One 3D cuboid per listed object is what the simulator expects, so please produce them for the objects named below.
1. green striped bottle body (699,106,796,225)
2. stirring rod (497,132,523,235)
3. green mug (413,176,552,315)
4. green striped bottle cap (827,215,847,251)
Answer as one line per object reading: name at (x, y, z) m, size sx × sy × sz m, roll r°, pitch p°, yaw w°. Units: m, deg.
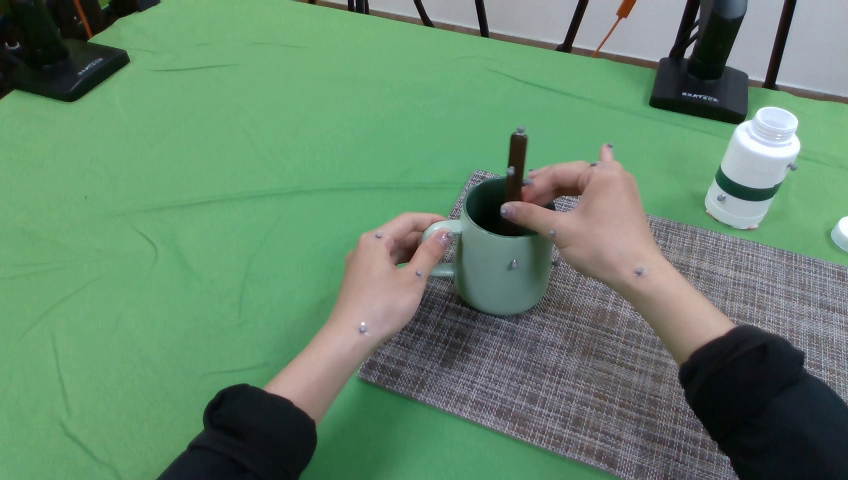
green striped bottle body at (0.334, -0.077, 0.624) m, size 0.063 × 0.120 × 0.062 m, roll 0°, pitch 46°, yaw 0°
stirring rod at (0.069, -0.018, 0.510) m, size 0.014 × 0.178 × 0.006 m, roll 14°, pitch 48°, yaw 15°
green mug at (0.052, 0.008, 0.547) m, size 0.125 × 0.106 × 0.091 m, roll -6°, pitch 47°, yaw -6°
green striped bottle cap at (0.446, -0.006, 0.628) m, size 0.044 × 0.020 × 0.044 m, roll 1°, pitch 43°, yaw -1°
